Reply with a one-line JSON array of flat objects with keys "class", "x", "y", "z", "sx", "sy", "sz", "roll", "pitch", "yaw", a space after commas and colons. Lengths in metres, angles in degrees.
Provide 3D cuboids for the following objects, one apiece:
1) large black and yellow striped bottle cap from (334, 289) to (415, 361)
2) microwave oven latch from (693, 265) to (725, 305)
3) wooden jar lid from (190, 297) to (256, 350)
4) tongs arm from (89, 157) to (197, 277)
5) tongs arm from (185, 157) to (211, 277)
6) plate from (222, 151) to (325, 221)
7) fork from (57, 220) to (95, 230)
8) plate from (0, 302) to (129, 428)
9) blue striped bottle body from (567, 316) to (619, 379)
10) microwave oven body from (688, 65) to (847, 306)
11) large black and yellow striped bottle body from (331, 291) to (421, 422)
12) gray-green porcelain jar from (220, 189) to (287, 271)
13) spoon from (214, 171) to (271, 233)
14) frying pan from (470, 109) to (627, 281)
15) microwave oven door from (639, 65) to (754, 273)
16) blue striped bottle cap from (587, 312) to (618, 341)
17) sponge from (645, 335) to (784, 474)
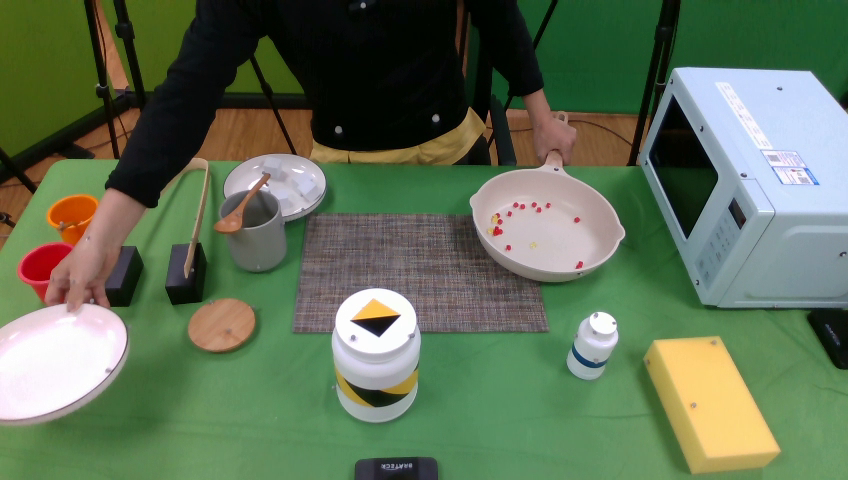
[{"class": "large black and yellow striped bottle cap", "x": -0.069, "y": 0.117, "z": 0.850, "sx": 0.115, "sy": 0.019, "sz": 0.114, "roll": 2, "pitch": 45, "yaw": -2}, {"class": "microwave oven latch", "x": 0.523, "y": 0.081, "z": 1.116, "sx": 0.030, "sy": 0.029, "sz": 0.078, "roll": 2, "pitch": 46, "yaw": -1}, {"class": "wooden jar lid", "x": -0.341, "y": 0.145, "z": 1.033, "sx": 0.108, "sy": 0.021, "sz": 0.107, "roll": 2, "pitch": 46, "yaw": -2}, {"class": "tongs arm", "x": -0.530, "y": -0.058, "z": 1.163, "sx": 0.028, "sy": 0.028, "sz": 0.385, "roll": 1, "pitch": 36, "yaw": 7}, {"class": "tongs arm", "x": -0.446, "y": -0.058, "z": 1.168, "sx": 0.051, "sy": 0.026, "sz": 0.382, "roll": -4, "pitch": 37, "yaw": -6}, {"class": "plate", "x": -0.310, "y": -0.106, "z": 1.262, "sx": 0.208, "sy": 0.039, "sz": 0.206, "roll": 2, "pitch": 46, "yaw": -2}, {"class": "fork", "x": -0.624, "y": -0.027, "z": 1.087, "sx": 0.028, "sy": 0.207, "sz": 0.018, "roll": -3, "pitch": 91, "yaw": -17}, {"class": "plate", "x": -0.517, "y": 0.173, "z": 0.839, "sx": 0.209, "sy": 0.038, "sz": 0.208, "roll": 1, "pitch": 40, "yaw": -1}, {"class": "blue striped bottle body", "x": 0.276, "y": 0.168, "z": 0.984, "sx": 0.063, "sy": 0.121, "sz": 0.062, "roll": 2, "pitch": 46, "yaw": -2}, {"class": "microwave oven body", "x": 0.669, "y": -0.111, "z": 1.176, "sx": 0.326, "sy": 0.261, "sz": 0.439, "roll": 0, "pitch": 46, "yaw": -3}, {"class": "large black and yellow striped bottle body", "x": -0.071, "y": 0.175, "z": 0.911, "sx": 0.131, "sy": 0.185, "sz": 0.130, "roll": 2, "pitch": 47, "yaw": -2}, {"class": "gray-green porcelain jar", "x": -0.309, "y": -0.015, "z": 1.114, "sx": 0.106, "sy": 0.127, "sz": 0.105, "roll": 2, "pitch": 46, "yaw": -2}, {"class": "spoon", "x": -0.312, "y": -0.071, "z": 1.070, "sx": 0.041, "sy": 0.022, "sz": 0.193, "roll": 11, "pitch": 43, "yaw": 9}, {"class": "frying pan", "x": 0.266, "y": -0.110, "z": 1.258, "sx": 0.306, "sy": 0.103, "sz": 0.485, "roll": 14, "pitch": 55, "yaw": 7}, {"class": "microwave oven door", "x": 0.522, "y": -0.147, "z": 1.193, "sx": 0.039, "sy": 0.245, "sz": 0.353, "roll": 0, "pitch": 47, "yaw": -3}, {"class": "blue striped bottle cap", "x": 0.279, "y": 0.134, "z": 0.947, "sx": 0.044, "sy": 0.021, "sz": 0.044, "roll": 2, "pitch": 44, "yaw": -2}, {"class": "sponge", "x": 0.449, "y": 0.253, "z": 0.956, "sx": 0.118, "sy": 0.061, "sz": 0.205, "roll": -4, "pitch": 46, "yaw": -7}]
